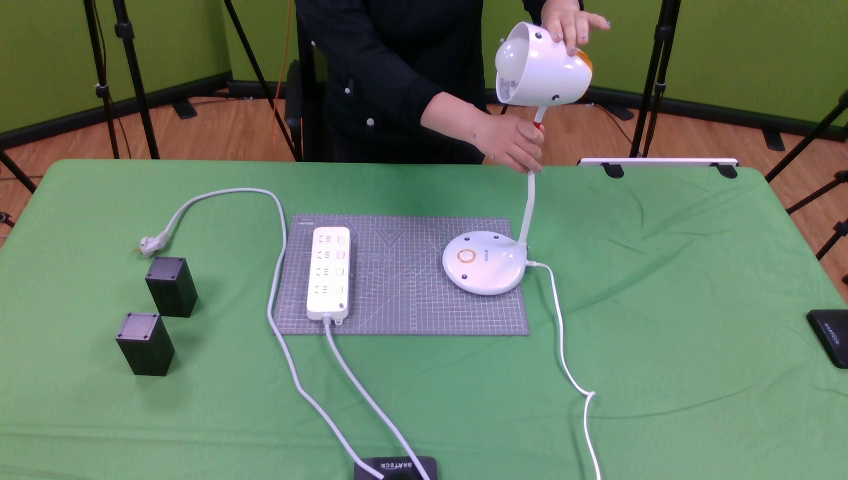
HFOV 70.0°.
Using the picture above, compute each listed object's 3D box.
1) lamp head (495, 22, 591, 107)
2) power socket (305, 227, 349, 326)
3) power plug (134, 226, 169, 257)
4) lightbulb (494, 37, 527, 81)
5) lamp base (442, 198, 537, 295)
[{"bbox_3d":[0.174,-0.239,0.870,0.123,0.113,0.111,12,43,-20],"label":"lamp head"},{"bbox_3d":[-0.177,0.059,1.115,0.072,0.033,0.225,-1,46,-4],"label":"power socket"},{"bbox_3d":[-0.516,0.006,1.152,0.052,0.035,0.072,-7,25,5],"label":"power plug"},{"bbox_3d":[0.152,-0.251,0.856,0.108,0.060,0.059,11,46,-1],"label":"lightbulb"},{"bbox_3d":[0.131,-0.012,1.105,0.179,0.181,0.159,-1,46,-9],"label":"lamp base"}]
